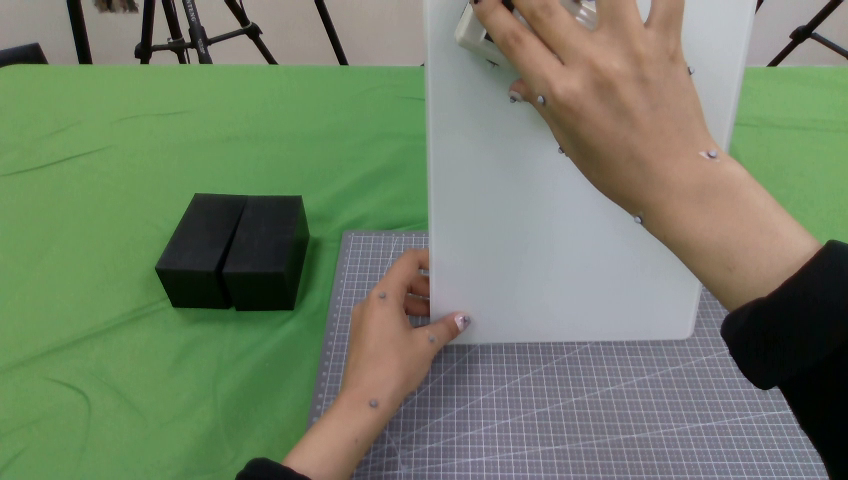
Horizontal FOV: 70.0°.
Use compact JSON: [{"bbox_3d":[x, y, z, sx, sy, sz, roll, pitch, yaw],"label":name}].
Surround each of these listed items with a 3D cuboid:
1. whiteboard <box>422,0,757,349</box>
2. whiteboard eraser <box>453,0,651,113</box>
[{"bbox_3d":[0.109,-0.080,0.495,0.217,0.307,0.143,-1,25,1],"label":"whiteboard"},{"bbox_3d":[0.079,-0.128,0.379,0.113,0.056,0.041,22,25,-8],"label":"whiteboard eraser"}]
